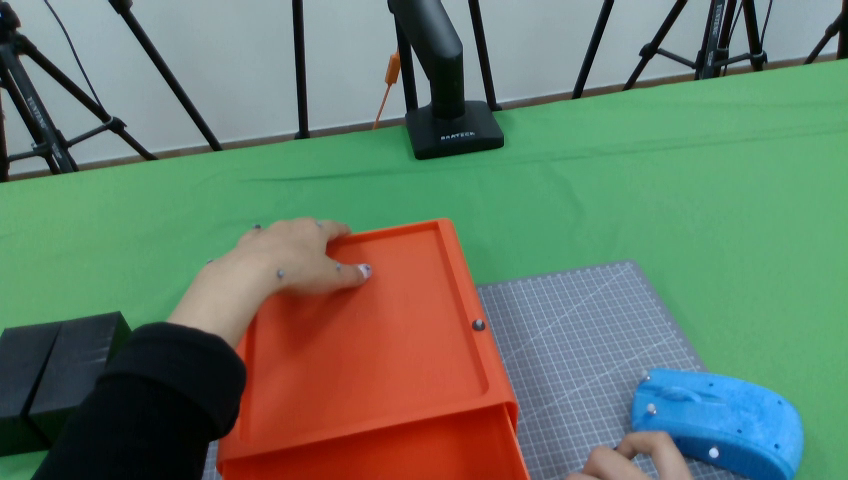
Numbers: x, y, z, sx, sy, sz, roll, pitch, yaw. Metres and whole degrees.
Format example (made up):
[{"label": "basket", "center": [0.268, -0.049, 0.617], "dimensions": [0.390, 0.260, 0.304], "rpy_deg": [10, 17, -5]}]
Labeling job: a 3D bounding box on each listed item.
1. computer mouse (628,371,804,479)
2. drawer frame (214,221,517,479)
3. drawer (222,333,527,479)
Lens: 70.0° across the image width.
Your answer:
[{"label": "computer mouse", "center": [0.213, 0.134, 0.445], "dimensions": [0.116, 0.041, 0.062], "rpy_deg": [14, 45, 28]}, {"label": "drawer frame", "center": [-0.051, 0.091, 0.492], "dimensions": [0.202, 0.083, 0.211], "rpy_deg": [-10, 39, -5]}, {"label": "drawer", "center": [-0.036, 0.152, 0.420], "dimensions": [0.195, 0.074, 0.209], "rpy_deg": [-10, 39, -4]}]
